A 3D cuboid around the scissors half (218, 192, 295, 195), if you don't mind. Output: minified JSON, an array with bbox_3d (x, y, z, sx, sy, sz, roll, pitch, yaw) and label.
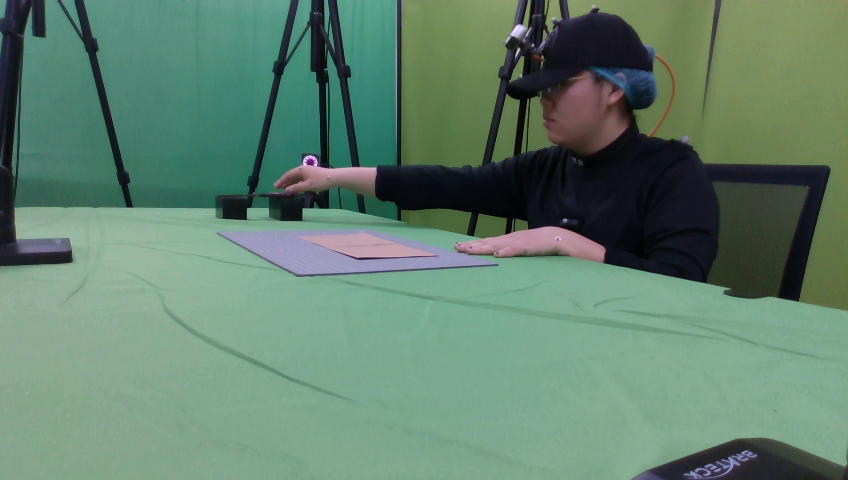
[{"bbox_3d":[-0.380,-0.104,1.380,0.176,0.013,0.040,-3,13,-36],"label":"scissors half"}]

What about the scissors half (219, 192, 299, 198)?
[{"bbox_3d":[-0.370,-0.101,1.362,0.176,0.013,0.040,-1,6,-19],"label":"scissors half"}]

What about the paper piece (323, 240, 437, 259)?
[{"bbox_3d":[-0.069,0.015,0.932,0.137,0.008,0.137,-5,11,-30],"label":"paper piece"}]

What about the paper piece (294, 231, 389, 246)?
[{"bbox_3d":[-0.138,-0.002,1.045,0.136,0.004,0.134,-3,9,-30],"label":"paper piece"}]
